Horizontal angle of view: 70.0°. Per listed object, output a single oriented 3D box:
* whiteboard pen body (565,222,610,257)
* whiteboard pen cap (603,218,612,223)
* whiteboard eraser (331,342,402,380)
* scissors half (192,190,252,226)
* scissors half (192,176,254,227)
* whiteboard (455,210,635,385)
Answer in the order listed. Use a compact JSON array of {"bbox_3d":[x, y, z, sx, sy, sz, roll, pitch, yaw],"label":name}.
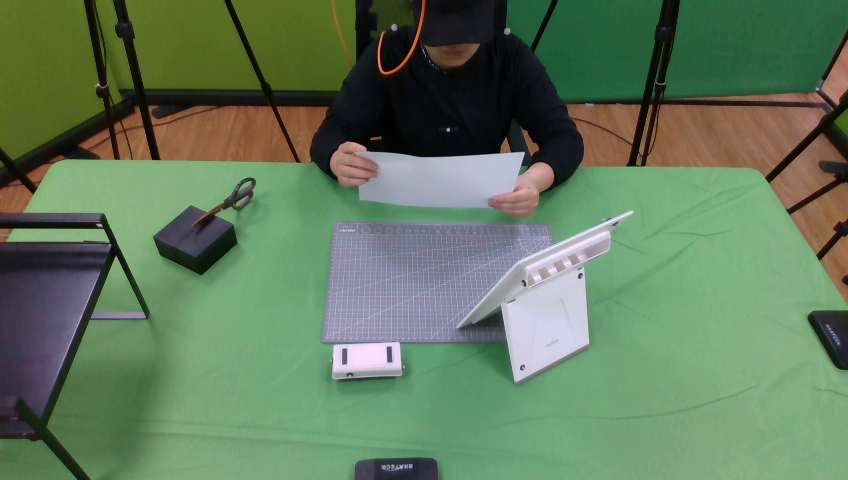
[{"bbox_3d":[0.335,-0.004,1.228,0.141,0.017,0.017,-33,56,-29],"label":"whiteboard pen body"},{"bbox_3d":[0.379,-0.031,1.255,0.033,0.018,0.018,-33,56,-28],"label":"whiteboard pen cap"},{"bbox_3d":[-0.094,0.198,0.986,0.113,0.042,0.055,-2,44,-6],"label":"whiteboard eraser"},{"bbox_3d":[-0.393,-0.060,1.187,0.013,0.040,0.175,25,29,11],"label":"scissors half"},{"bbox_3d":[-0.388,-0.075,1.174,0.013,0.040,0.174,29,48,8],"label":"scissors half"},{"bbox_3d":[0.211,0.111,0.955,0.217,0.306,0.143,-21,71,-23],"label":"whiteboard"}]
